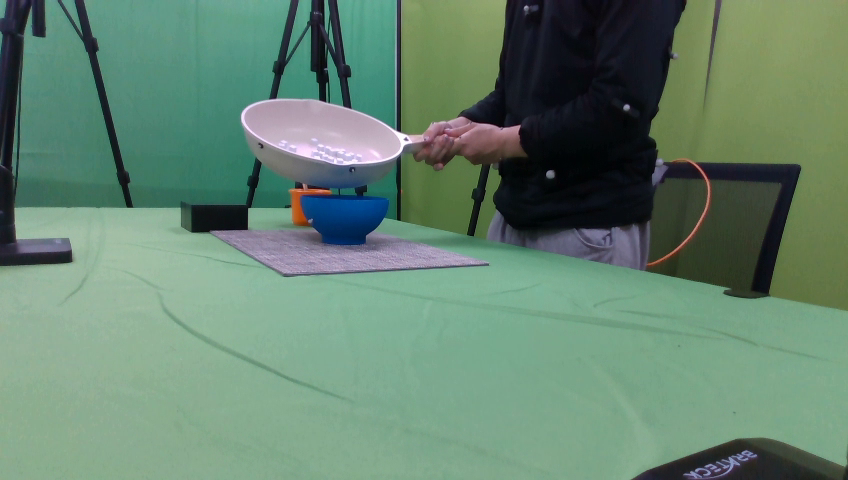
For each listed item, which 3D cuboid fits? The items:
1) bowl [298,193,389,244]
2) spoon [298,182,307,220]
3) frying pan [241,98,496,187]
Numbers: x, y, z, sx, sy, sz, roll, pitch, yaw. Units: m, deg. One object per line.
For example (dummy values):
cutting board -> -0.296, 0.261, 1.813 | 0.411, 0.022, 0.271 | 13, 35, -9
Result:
bowl -> -0.136, -0.037, 1.018 | 0.151, 0.077, 0.151 | 2, 7, 0
spoon -> -0.264, -0.114, 1.338 | 0.042, 0.193, 0.021 | 0, -37, -21
frying pan -> -0.089, -0.188, 1.147 | 0.490, 0.103, 0.305 | -4, 34, -16
